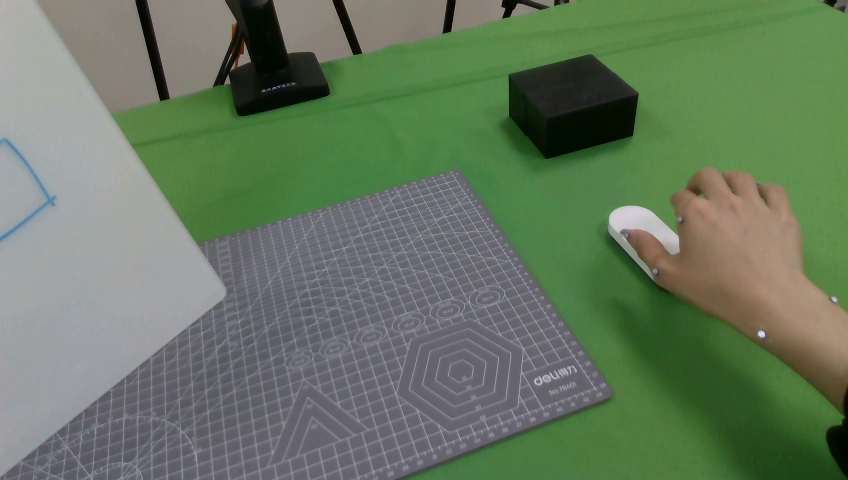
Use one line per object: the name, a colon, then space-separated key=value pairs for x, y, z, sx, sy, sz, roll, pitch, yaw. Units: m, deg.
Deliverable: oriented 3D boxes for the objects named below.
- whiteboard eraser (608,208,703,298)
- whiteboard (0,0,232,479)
whiteboard eraser: x=0.192 y=0.008 z=0.507 sx=0.041 sy=0.019 sz=0.100 roll=-17 pitch=44 yaw=-11
whiteboard: x=-0.332 y=-0.017 z=0.442 sx=0.143 sy=0.308 sz=0.217 roll=8 pitch=41 yaw=45
